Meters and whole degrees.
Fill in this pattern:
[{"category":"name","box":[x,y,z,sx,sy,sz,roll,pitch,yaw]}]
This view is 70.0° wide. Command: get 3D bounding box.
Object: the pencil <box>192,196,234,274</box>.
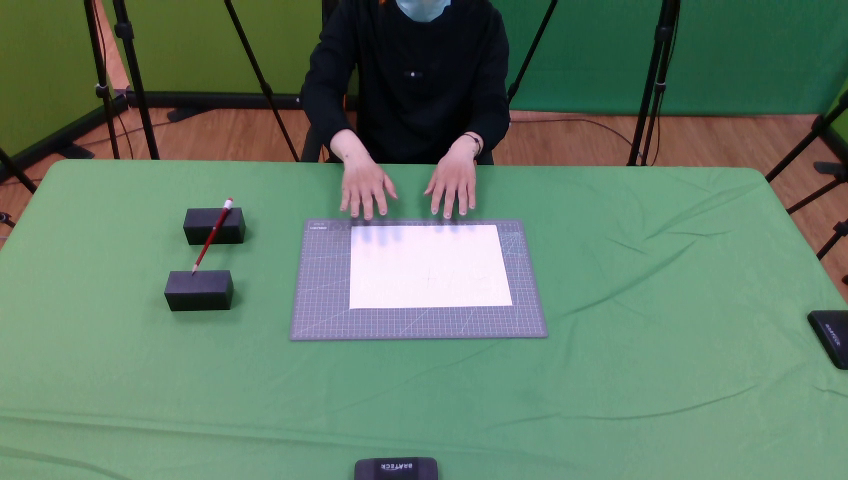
[{"category":"pencil","box":[-0.389,-0.012,1.119,0.012,0.012,0.193,8,48,4]}]
